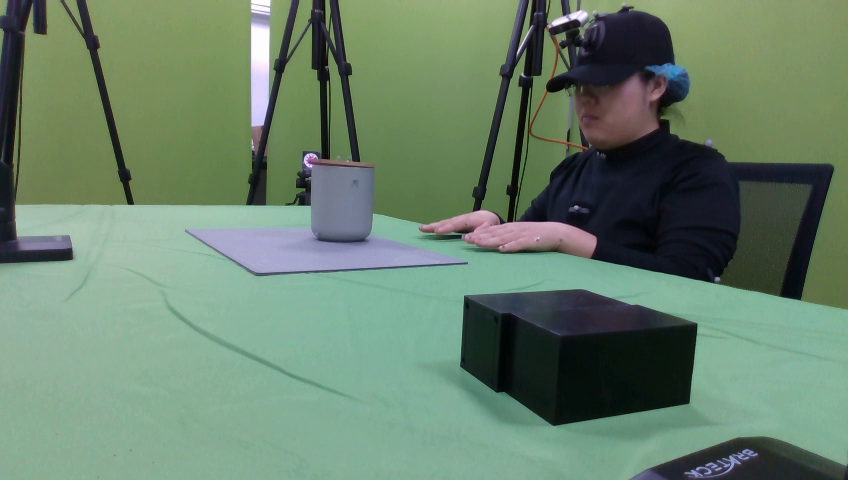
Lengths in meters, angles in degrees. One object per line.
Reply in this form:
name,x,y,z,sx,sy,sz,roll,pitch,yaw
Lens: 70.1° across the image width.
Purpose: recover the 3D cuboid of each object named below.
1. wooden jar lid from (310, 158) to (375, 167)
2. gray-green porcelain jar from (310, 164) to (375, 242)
wooden jar lid,-0.137,-0.125,1.017,0.108,0.020,0.108,4,8,0
gray-green porcelain jar,-0.139,-0.064,1.025,0.106,0.126,0.106,3,8,0
